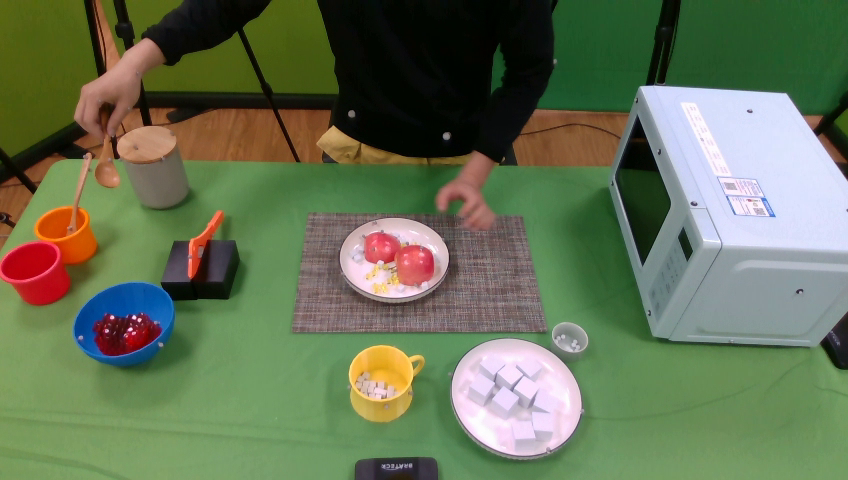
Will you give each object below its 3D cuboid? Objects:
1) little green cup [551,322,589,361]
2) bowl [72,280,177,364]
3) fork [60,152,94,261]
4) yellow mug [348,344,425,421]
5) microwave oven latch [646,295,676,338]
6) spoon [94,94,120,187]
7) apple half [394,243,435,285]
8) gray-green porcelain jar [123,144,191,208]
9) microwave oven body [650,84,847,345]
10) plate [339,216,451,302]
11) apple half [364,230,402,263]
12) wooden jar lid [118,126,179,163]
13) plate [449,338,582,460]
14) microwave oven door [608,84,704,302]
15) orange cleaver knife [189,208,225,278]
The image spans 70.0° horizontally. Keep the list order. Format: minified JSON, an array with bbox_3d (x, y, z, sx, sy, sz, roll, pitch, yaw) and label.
[{"bbox_3d":[0.247,0.175,1.033,0.061,0.039,0.061,3,44,-2],"label":"little green cup"},{"bbox_3d":[-0.472,0.147,0.982,0.151,0.077,0.150,2,46,-2],"label":"bowl"},{"bbox_3d":[-0.638,-0.063,1.119,0.028,0.018,0.207,12,90,9],"label":"fork"},{"bbox_3d":[-0.054,0.217,0.954,0.131,0.064,0.099,-24,53,-25],"label":"yellow mug"},{"bbox_3d":[0.413,0.133,1.061,0.030,0.029,0.078,4,46,1],"label":"microwave oven latch"},{"bbox_3d":[-0.549,-0.174,1.046,0.042,0.021,0.193,8,62,-44],"label":"spoon"},{"bbox_3d":[-0.017,0.036,1.120,0.075,0.053,0.080,1,46,-6],"label":"apple half"},{"bbox_3d":[-0.530,-0.137,1.213,0.106,0.127,0.105,2,46,-2],"label":"gray-green porcelain jar"},{"bbox_3d":[0.569,-0.054,1.116,0.326,0.261,0.439,2,46,-1],"label":"microwave oven body"},{"bbox_3d":[-0.054,0.038,1.138,0.209,0.038,0.208,2,46,-2],"label":"plate"},{"bbox_3d":[-0.079,0.005,1.159,0.081,0.033,0.081,3,49,-3],"label":"apple half"},{"bbox_3d":[-0.528,-0.181,1.167,0.108,0.021,0.107,3,48,-4],"label":"wooden jar lid"},{"bbox_3d":[0.141,0.251,0.955,0.208,0.039,0.206,2,47,-2],"label":"plate"},{"bbox_3d":[0.424,-0.096,1.138,0.039,0.245,0.353,2,47,-1],"label":"microwave oven door"},{"bbox_3d":[-0.401,0.001,1.122,0.012,0.077,0.210,6,23,-5],"label":"orange cleaver knife"}]
